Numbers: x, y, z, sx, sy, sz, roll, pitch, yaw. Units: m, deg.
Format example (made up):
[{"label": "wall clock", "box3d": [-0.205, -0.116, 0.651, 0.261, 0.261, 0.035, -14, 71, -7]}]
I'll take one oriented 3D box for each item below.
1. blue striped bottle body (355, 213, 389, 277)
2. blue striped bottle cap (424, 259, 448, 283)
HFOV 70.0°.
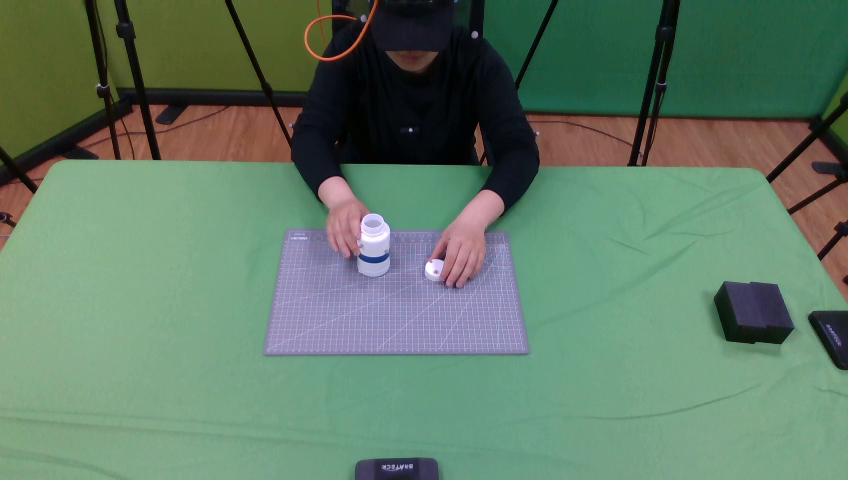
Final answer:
[{"label": "blue striped bottle body", "box3d": [-0.095, 0.007, 1.112, 0.063, 0.121, 0.062, 2, 45, -2]}, {"label": "blue striped bottle cap", "box3d": [0.023, 0.058, 1.147, 0.044, 0.021, 0.044, 1, 48, -1]}]
